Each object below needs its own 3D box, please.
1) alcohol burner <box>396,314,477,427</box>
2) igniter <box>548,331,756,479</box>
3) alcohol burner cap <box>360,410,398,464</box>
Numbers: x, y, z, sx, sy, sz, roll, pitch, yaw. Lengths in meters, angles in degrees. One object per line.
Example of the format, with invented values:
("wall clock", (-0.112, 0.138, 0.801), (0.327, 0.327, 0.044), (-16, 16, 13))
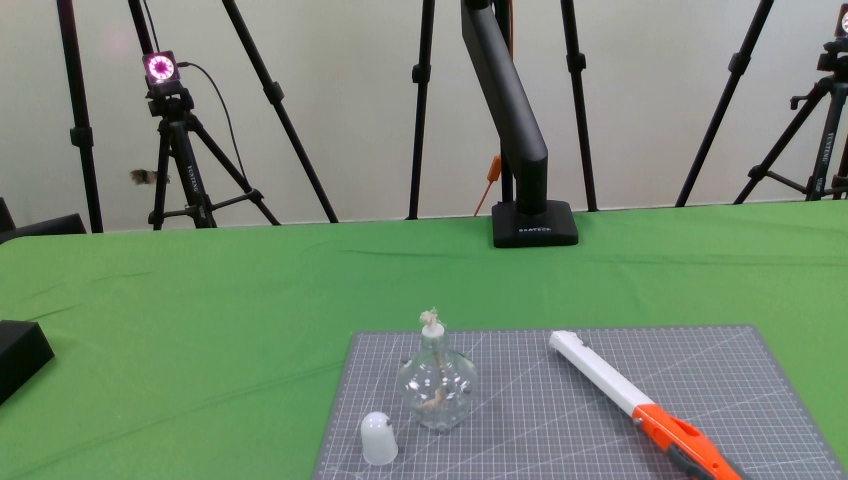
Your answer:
("alcohol burner", (0.011, 0.117, 0.568), (0.078, 0.120, 0.077), (-3, 31, 2))
("igniter", (0.206, 0.158, 0.545), (0.057, 0.025, 0.273), (5, 20, -30))
("alcohol burner cap", (-0.042, 0.175, 0.548), (0.034, 0.048, 0.033), (-4, 31, 3))
